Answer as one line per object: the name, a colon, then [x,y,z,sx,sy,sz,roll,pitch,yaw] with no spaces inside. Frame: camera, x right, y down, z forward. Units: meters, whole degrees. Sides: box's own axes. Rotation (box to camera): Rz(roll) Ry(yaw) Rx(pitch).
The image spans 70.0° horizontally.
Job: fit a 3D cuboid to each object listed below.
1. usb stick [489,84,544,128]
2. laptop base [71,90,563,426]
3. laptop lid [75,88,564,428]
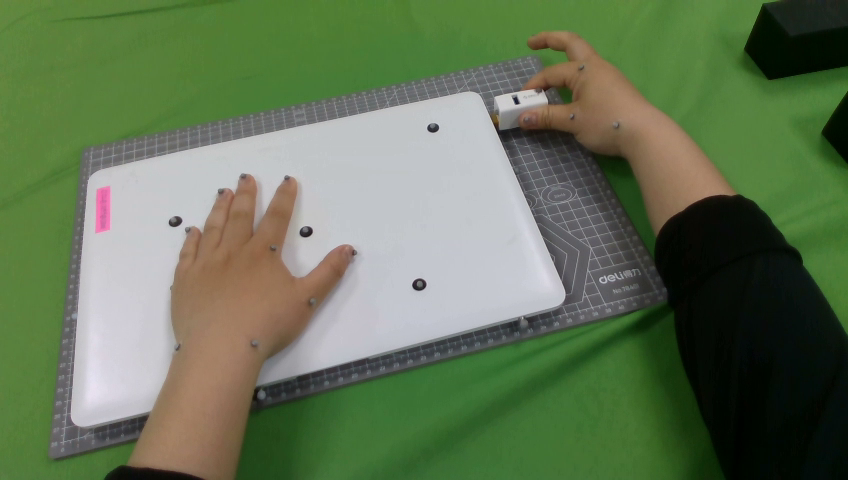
usb stick: [0.076,-0.118,0.541,0.059,0.027,0.021,-15,49,2]
laptop base: [-0.093,-0.004,0.489,0.355,0.023,0.233,-13,59,-6]
laptop lid: [-0.093,-0.007,0.480,0.357,0.013,0.239,-12,58,-4]
